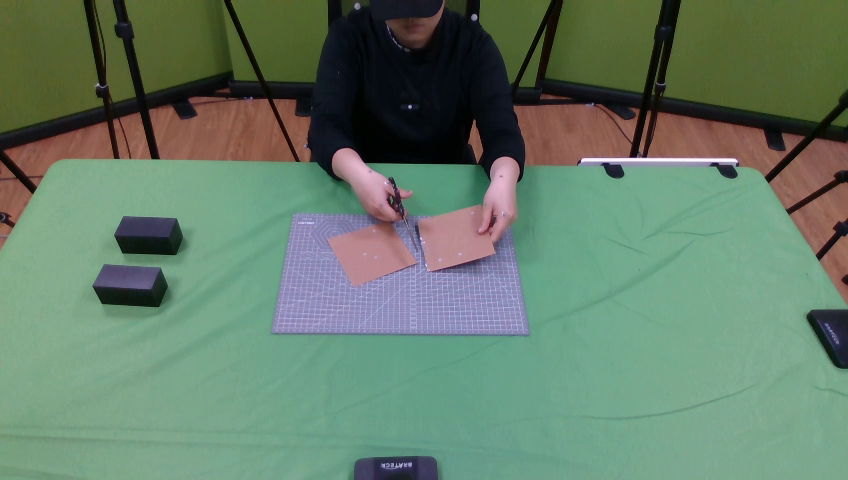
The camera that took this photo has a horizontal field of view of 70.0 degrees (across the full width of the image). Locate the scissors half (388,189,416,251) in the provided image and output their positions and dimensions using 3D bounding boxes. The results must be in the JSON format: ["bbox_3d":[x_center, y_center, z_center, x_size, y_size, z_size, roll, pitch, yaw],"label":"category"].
[{"bbox_3d":[-0.042,-0.040,1.195,0.013,0.040,0.174,-15,46,-10],"label":"scissors half"}]

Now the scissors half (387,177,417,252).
[{"bbox_3d":[-0.043,-0.052,1.179,0.013,0.040,0.174,-18,66,-6],"label":"scissors half"}]

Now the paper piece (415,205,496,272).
[{"bbox_3d":[0.059,-0.006,1.185,0.138,0.009,0.135,-13,54,3],"label":"paper piece"}]

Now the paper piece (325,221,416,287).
[{"bbox_3d":[-0.105,0.022,1.174,0.135,0.004,0.135,-19,50,-21],"label":"paper piece"}]
